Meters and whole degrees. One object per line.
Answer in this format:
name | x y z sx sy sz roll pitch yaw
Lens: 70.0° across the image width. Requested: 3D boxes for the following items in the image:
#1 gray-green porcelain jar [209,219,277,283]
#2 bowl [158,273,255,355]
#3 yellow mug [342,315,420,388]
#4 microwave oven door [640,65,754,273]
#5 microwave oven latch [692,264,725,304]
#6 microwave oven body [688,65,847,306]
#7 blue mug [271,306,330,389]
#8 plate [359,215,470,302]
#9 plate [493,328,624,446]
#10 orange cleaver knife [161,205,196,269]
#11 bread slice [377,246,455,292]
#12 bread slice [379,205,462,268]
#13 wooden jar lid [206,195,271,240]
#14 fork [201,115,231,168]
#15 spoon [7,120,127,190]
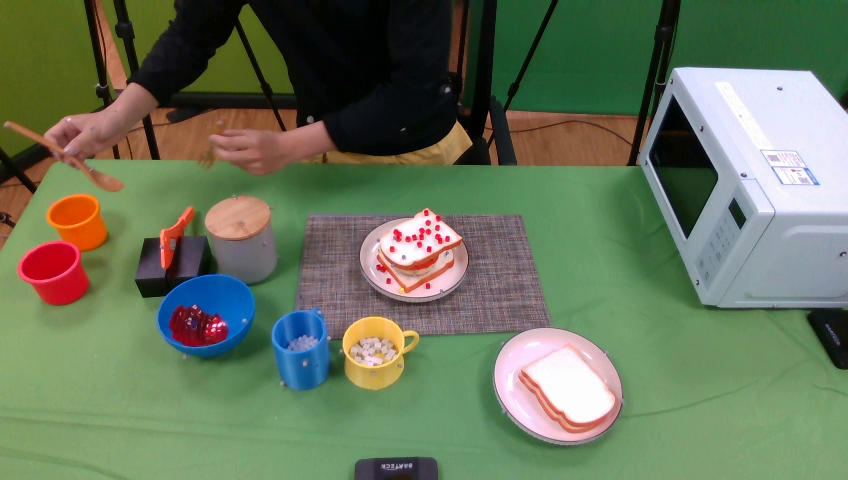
gray-green porcelain jar | -0.323 0.007 1.092 0.106 0.127 0.105 2 46 -2
bowl | -0.351 0.136 1.001 0.151 0.077 0.150 2 46 -2
yellow mug | -0.068 0.177 0.990 0.131 0.064 0.099 -15 50 -19
microwave oven door | 0.522 -0.147 1.193 0.039 0.245 0.353 0 47 -3
microwave oven latch | 0.522 0.081 1.116 0.030 0.029 0.078 1 46 -2
microwave oven body | 0.669 -0.111 1.176 0.326 0.261 0.439 0 46 -3
blue mug | -0.188 0.163 0.969 0.082 0.106 0.116 15 47 10
plate | -0.019 0.038 1.140 0.209 0.038 0.208 2 46 -2
plate | 0.213 0.236 0.974 0.208 0.039 0.206 2 46 -2
orange cleaver knife | -0.454 -0.010 1.129 0.012 0.077 0.210 -2 20 -5
bread slice | -0.010 0.034 1.150 0.131 0.019 0.104 -29 56 -23
bread slice | -0.012 -0.001 1.097 0.134 0.018 0.106 -33 51 -23
wooden jar lid | -0.319 -0.036 1.046 0.108 0.021 0.107 1 44 -1
fork | -0.375 -0.175 1.095 0.028 0.207 0.018 36 62 -16
spoon | -0.587 -0.141 1.004 0.021 0.195 0.041 -37 34 21
